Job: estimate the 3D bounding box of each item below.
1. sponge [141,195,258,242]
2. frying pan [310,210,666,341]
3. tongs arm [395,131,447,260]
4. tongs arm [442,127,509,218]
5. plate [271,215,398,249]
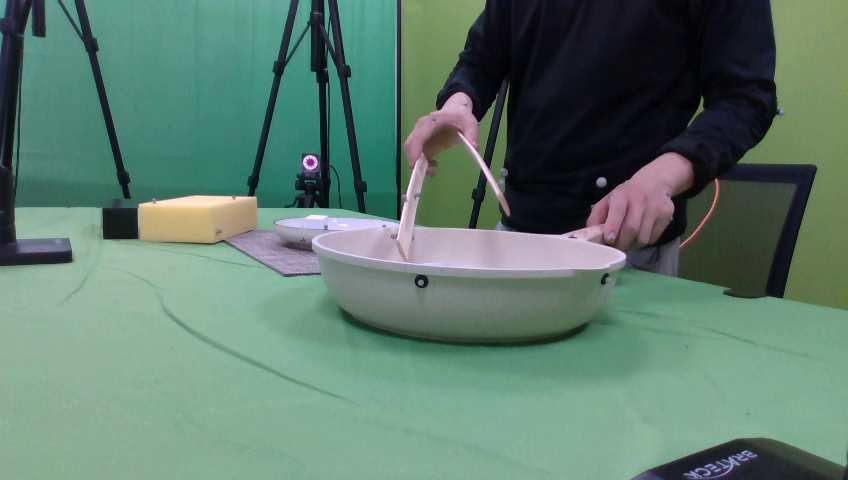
[{"bbox_3d":[-0.380,-0.040,1.047,0.118,0.061,0.207,1,8,3],"label":"sponge"},{"bbox_3d":[0.120,0.011,0.643,0.490,0.102,0.305,-13,16,-36],"label":"frying pan"},{"bbox_3d":[0.003,-0.073,0.762,0.050,0.026,0.384,-23,20,11],"label":"tongs arm"},{"bbox_3d":[0.059,-0.096,0.753,0.028,0.028,0.386,-29,20,6],"label":"tongs arm"},{"bbox_3d":[-0.141,-0.012,0.978,0.208,0.039,0.207,2,7,0],"label":"plate"}]
